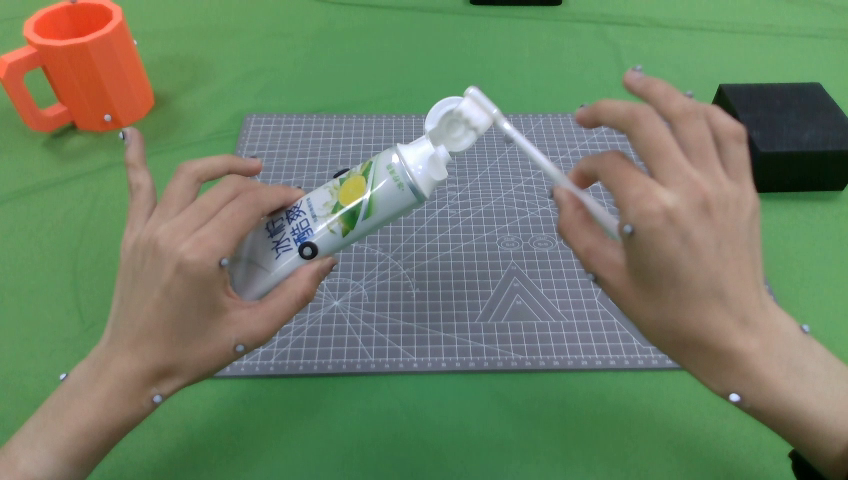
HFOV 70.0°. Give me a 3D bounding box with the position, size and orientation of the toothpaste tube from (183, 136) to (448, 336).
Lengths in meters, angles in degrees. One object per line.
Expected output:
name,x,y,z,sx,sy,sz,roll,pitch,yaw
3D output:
toothpaste tube,-0.060,-0.010,0.335,0.165,0.035,0.054,-30,52,4

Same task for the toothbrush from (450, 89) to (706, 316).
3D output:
toothbrush,0.086,-0.016,0.329,0.182,0.014,0.016,40,76,-6

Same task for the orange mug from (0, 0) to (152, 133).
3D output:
orange mug,-0.336,-0.160,0.578,0.083,0.101,0.126,32,51,25

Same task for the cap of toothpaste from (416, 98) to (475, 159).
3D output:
cap of toothpaste,0.014,-0.062,0.344,0.037,0.037,0.011,-13,27,-12
